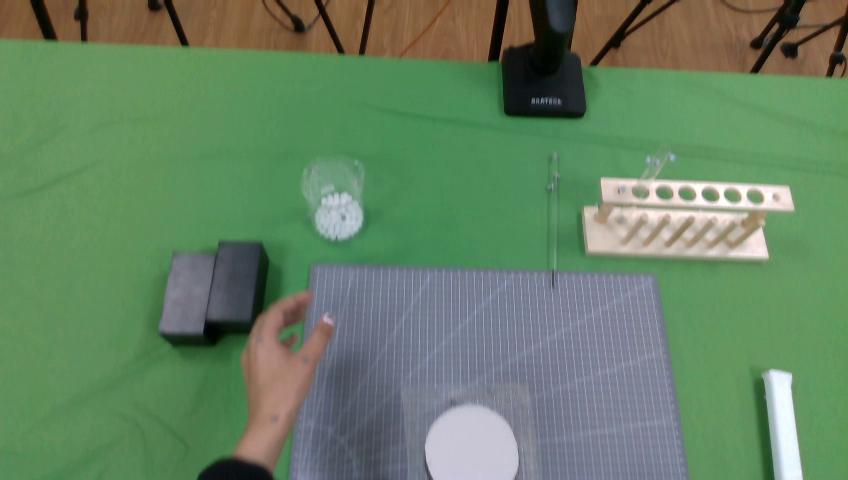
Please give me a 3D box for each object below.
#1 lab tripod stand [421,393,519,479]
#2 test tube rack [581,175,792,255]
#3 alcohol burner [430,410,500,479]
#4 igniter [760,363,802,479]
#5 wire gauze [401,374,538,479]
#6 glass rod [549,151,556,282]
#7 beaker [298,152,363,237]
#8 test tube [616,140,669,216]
[{"bbox_3d":[0.040,0.218,0.625,0.148,0.132,0.147,1,64,-1],"label":"lab tripod stand"},{"bbox_3d":[0.338,-0.031,0.788,0.242,0.086,0.066,2,65,-2],"label":"test tube rack"},{"bbox_3d":[0.044,0.215,0.637,0.078,0.120,0.077,2,63,-4],"label":"alcohol burner"},{"bbox_3d":[0.409,0.276,0.683,0.057,0.025,0.274,13,65,-9],"label":"igniter"},{"bbox_3d":[0.043,0.186,0.565,0.125,0.011,0.120,-1,64,-4],"label":"wire gauze"},{"bbox_3d":[0.175,-0.035,0.821,0.008,0.008,0.198,7,66,-1],"label":"glass rod"},{"bbox_3d":[-0.111,-0.055,0.763,0.084,0.101,0.073,-35,72,-18],"label":"beaker"},{"bbox_3d":[0.267,-0.072,0.748,0.017,0.151,0.017,1,62,-1],"label":"test tube"}]
